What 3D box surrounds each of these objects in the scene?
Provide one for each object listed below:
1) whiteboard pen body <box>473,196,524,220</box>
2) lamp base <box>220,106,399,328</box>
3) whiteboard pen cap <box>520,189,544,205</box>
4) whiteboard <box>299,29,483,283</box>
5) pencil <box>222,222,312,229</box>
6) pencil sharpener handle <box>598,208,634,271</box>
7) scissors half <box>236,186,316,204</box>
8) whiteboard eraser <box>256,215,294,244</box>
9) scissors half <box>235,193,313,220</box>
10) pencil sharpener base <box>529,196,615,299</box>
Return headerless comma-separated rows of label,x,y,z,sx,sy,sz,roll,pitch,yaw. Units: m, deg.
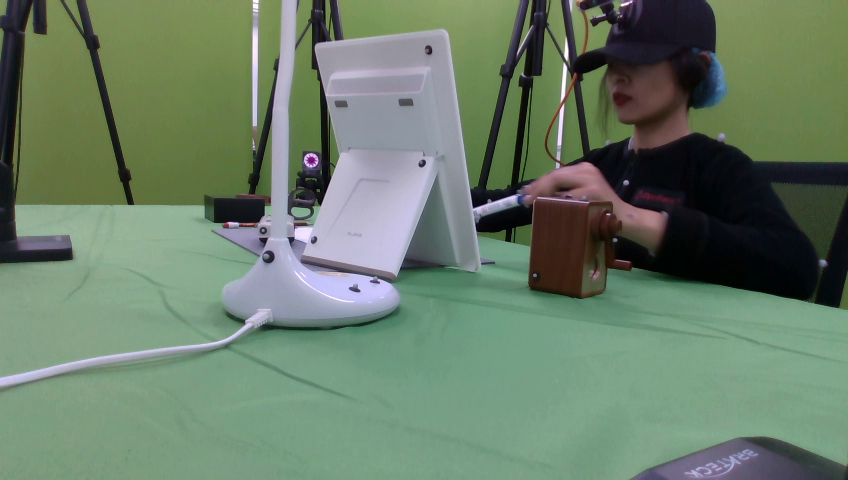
whiteboard pen body,0.109,-0.048,0.897,0.140,0.017,0.017,-15,-6,40
lamp base,-0.101,-0.023,0.531,0.160,0.180,0.179,4,10,10
whiteboard pen cap,0.153,-0.060,0.860,0.033,0.018,0.018,-20,-7,34
whiteboard,-0.074,-0.082,0.742,0.216,0.305,0.144,9,30,38
pencil,-0.302,-0.030,1.189,0.195,0.012,0.012,-3,9,-42
pencil sharpener handle,0.208,0.000,0.645,0.030,0.068,0.036,10,23,42
scissors half,-0.320,-0.097,1.316,0.176,0.040,0.013,-3,11,-29
whiteboard eraser,-0.232,-0.016,0.951,0.056,0.042,0.112,2,7,-12
scissors half,-0.325,-0.077,1.319,0.176,0.040,0.012,17,6,-31
pencil sharpener base,0.167,0.007,0.678,0.076,0.107,0.062,10,10,42
